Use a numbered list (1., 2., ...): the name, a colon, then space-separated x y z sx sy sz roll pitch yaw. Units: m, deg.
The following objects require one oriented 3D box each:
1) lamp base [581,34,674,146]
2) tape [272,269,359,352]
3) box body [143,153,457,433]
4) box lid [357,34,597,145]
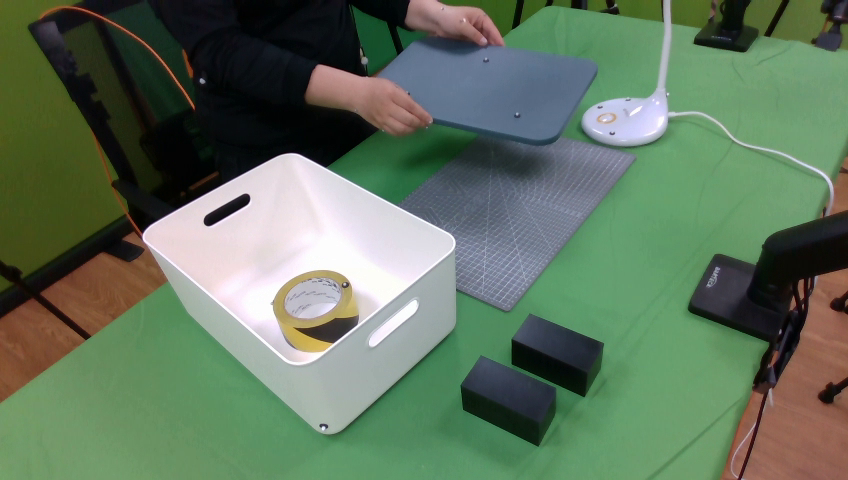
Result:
1. lamp base: 0.392 -0.291 1.129 0.180 0.181 0.159 -11 41 -8
2. tape: -0.149 0.097 0.843 0.117 0.053 0.116 -4 41 4
3. box body: -0.158 0.054 0.819 0.361 0.161 0.255 29 52 34
4. box lid: 0.095 -0.274 1.059 0.369 0.015 0.263 17 49 22
